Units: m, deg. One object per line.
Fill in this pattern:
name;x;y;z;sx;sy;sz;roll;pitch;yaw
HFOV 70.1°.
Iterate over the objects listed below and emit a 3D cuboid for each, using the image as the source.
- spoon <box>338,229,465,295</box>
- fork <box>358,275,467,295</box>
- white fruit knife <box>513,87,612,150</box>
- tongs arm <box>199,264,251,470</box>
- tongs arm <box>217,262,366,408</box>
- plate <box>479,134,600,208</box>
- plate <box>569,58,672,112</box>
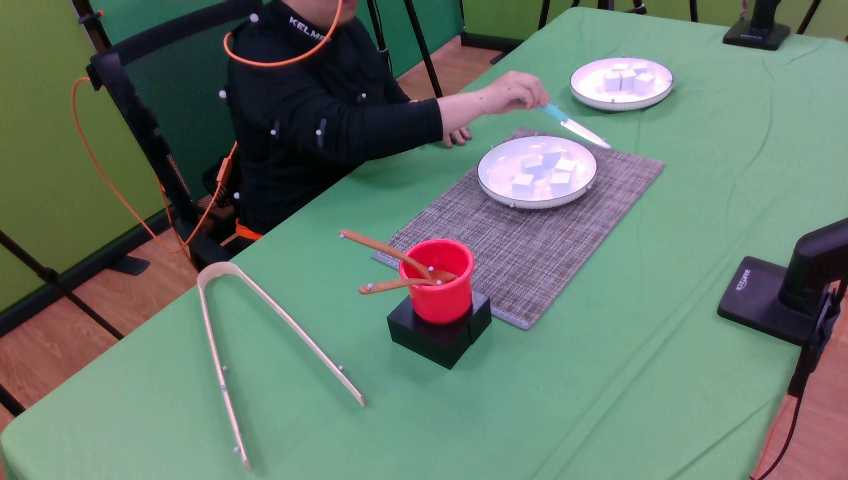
spoon;-0.025;0.026;0.776;0.021;0.195;0.041;-41;34;32
fork;-0.009;0.056;0.739;0.028;0.018;0.209;48;23;26
white fruit knife;0.254;-0.219;1.096;0.208;0.016;0.027;30;64;-7
tongs arm;-0.270;0.154;0.841;0.051;0.026;0.381;-23;40;-17
tongs arm;-0.200;0.123;0.871;0.028;0.028;0.384;-35;46;-24
plate;0.202;-0.117;1.065;0.207;0.039;0.206;-5;40;5
plate;0.411;-0.323;1.274;0.209;0.038;0.208;-5;41;5
